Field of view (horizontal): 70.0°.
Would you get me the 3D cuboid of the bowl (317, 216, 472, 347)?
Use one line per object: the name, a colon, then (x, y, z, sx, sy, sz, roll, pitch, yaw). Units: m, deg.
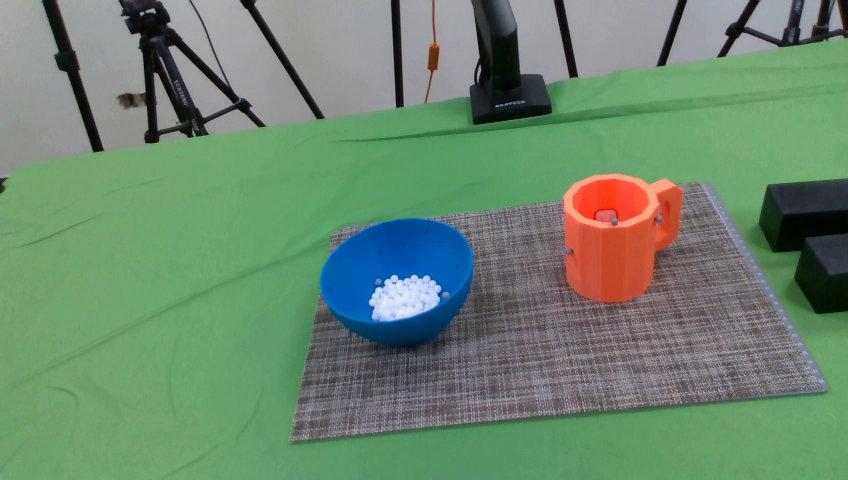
bowl: (-0.022, 0.052, 0.601, 0.151, 0.077, 0.150, -8, 39, 7)

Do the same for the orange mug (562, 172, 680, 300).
orange mug: (0.197, -0.011, 0.603, 0.126, 0.102, 0.082, -25, 41, -9)
